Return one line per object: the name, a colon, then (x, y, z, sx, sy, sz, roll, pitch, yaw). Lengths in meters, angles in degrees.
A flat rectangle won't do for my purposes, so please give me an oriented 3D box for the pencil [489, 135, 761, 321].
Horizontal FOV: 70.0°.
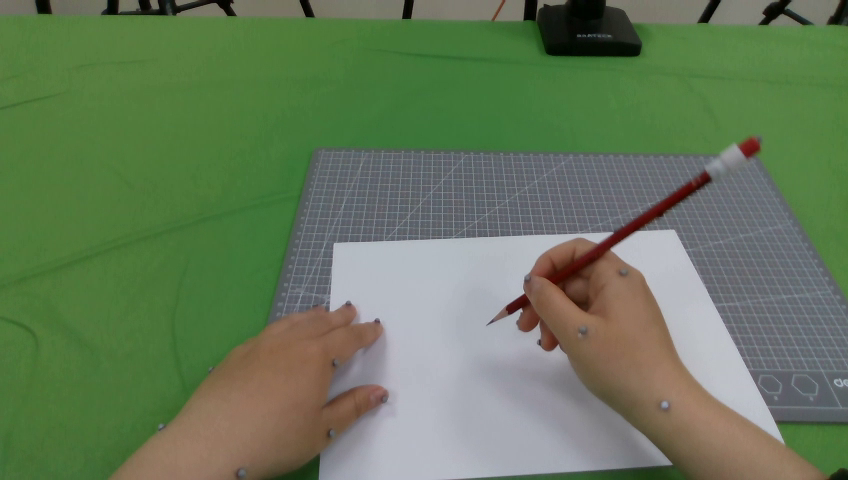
pencil: (0.111, 0.001, 0.366, 0.012, 0.194, 0.012, 36, 32, -26)
